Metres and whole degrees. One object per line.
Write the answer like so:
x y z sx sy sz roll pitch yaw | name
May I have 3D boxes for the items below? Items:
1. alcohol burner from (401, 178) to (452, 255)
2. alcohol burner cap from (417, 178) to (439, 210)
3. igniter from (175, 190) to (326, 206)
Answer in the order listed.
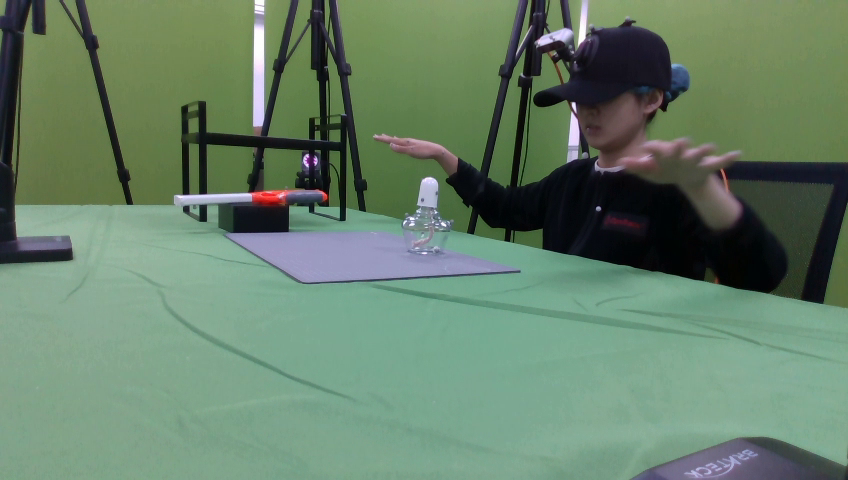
0.005 -0.036 0.923 0.078 0.119 0.078 5 7 0 | alcohol burner
0.008 -0.071 0.917 0.034 0.048 0.034 6 5 0 | alcohol burner cap
-0.315 -0.079 1.128 0.278 0.025 0.057 -5 13 -34 | igniter
